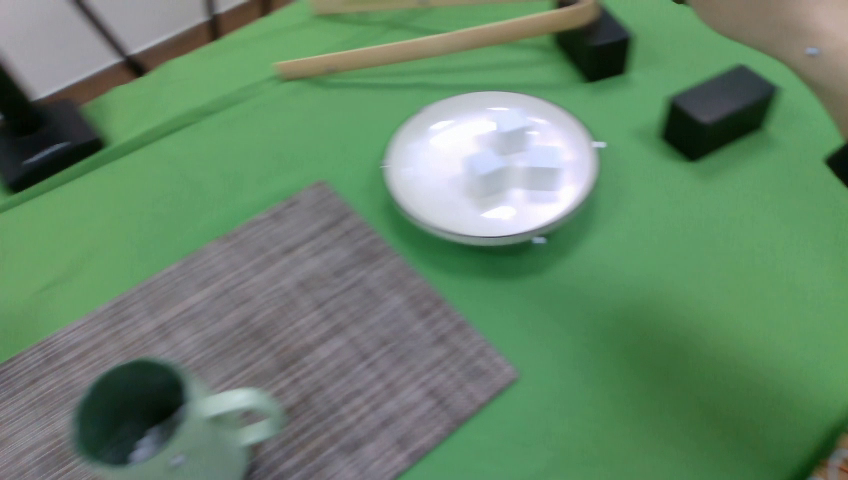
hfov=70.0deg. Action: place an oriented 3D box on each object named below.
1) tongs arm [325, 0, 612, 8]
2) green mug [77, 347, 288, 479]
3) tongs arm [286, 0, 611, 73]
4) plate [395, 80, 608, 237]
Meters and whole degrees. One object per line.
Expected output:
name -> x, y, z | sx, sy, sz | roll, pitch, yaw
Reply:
tongs arm -> 0.036, -0.301, 0.754 | 0.383, 0.027, 0.050 | 4, 52, 21
green mug -> -0.160, 0.130, 0.426 | 0.125, 0.106, 0.091 | -15, 51, -5
tongs arm -> 0.020, -0.239, 0.709 | 0.387, 0.028, 0.028 | -6, 45, 13
plate -> 0.076, -0.081, 0.609 | 0.207, 0.039, 0.205 | -3, 52, 5
